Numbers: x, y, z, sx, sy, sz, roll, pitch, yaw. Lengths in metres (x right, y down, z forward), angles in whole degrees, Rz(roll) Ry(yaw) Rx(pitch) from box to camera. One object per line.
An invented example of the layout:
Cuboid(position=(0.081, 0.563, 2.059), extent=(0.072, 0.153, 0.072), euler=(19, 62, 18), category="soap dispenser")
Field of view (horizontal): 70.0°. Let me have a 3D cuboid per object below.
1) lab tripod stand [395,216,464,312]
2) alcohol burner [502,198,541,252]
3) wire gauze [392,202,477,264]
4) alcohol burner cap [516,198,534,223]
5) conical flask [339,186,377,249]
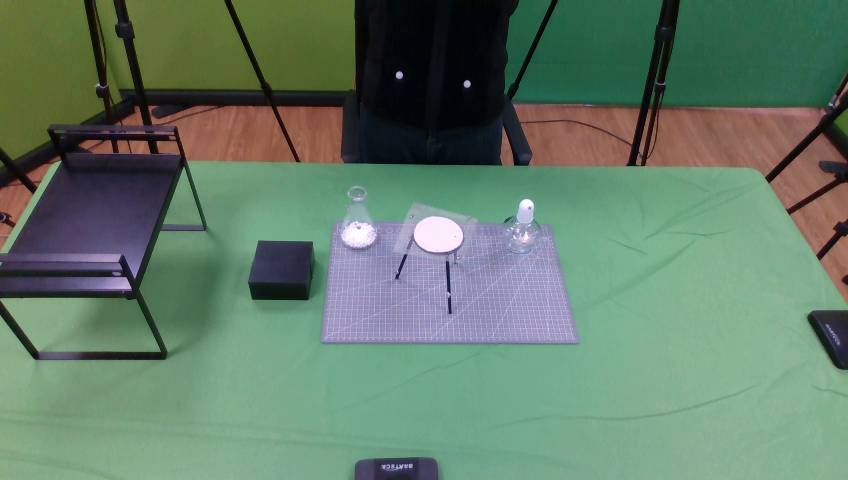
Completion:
Cuboid(position=(0.023, 0.036, 1.084), extent=(0.148, 0.132, 0.147), euler=(4, 46, -4), category="lab tripod stand")
Cuboid(position=(0.192, -0.033, 1.178), extent=(0.078, 0.119, 0.077), euler=(2, 44, -2), category="alcohol burner")
Cuboid(position=(0.020, -0.011, 1.036), extent=(0.121, 0.011, 0.124), euler=(13, 47, 8), category="wire gauze")
Cuboid(position=(0.194, -0.059, 1.152), extent=(0.034, 0.048, 0.033), euler=(0, 50, 1), category="alcohol burner cap")
Cuboid(position=(-0.129, -0.047, 1.160), extent=(0.075, 0.122, 0.075), euler=(2, 46, -2), category="conical flask")
